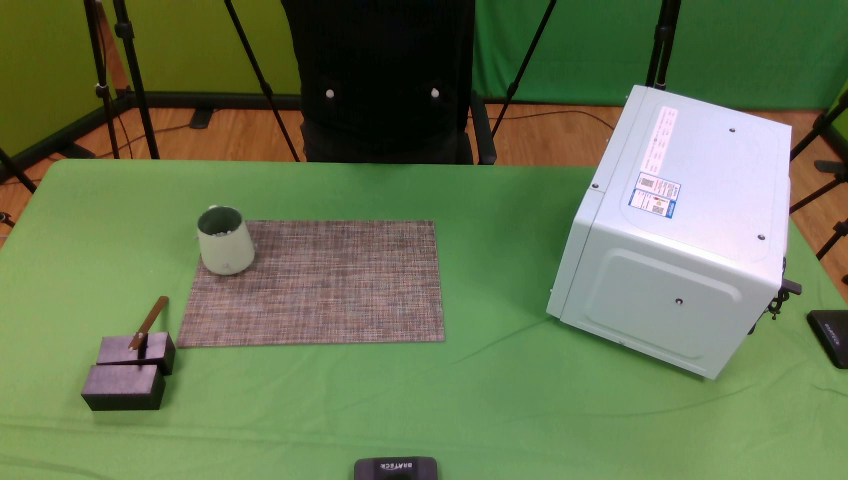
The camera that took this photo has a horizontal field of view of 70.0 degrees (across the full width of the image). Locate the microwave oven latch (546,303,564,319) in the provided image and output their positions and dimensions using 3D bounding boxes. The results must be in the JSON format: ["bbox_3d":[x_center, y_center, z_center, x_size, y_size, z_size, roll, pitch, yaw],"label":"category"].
[{"bbox_3d":[0.242,0.102,1.081,0.030,0.029,0.079,22,48,17],"label":"microwave oven latch"}]

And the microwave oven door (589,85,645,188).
[{"bbox_3d":[0.342,-0.107,1.149,0.039,0.245,0.354,20,48,15],"label":"microwave oven door"}]

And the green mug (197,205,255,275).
[{"bbox_3d":[-0.370,-0.008,1.114,0.092,0.105,0.124,-19,50,-20],"label":"green mug"}]

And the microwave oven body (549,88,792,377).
[{"bbox_3d":[0.456,-0.028,1.088,0.325,0.261,0.440,20,47,16],"label":"microwave oven body"}]

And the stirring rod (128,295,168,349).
[{"bbox_3d":[-0.451,0.131,0.996,0.014,0.006,0.175,9,21,-10],"label":"stirring rod"}]
